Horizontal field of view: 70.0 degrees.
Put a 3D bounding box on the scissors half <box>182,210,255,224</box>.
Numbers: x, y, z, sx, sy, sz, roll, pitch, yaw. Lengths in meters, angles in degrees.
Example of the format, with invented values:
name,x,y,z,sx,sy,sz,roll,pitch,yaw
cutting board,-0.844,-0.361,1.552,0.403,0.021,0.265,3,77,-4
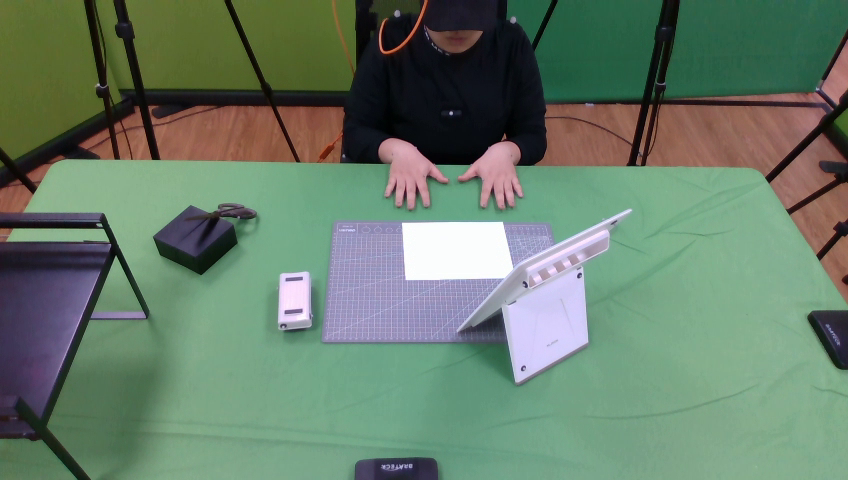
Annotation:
name,x,y,z,sx,sy,sz,roll,pitch,yaw
scissors half,-0.389,-0.043,1.158,0.040,0.013,0.175,40,21,22

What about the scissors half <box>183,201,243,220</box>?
name,x,y,z,sx,sy,sz,roll,pitch,yaw
scissors half,-0.405,-0.054,1.163,0.040,0.013,0.175,29,18,7

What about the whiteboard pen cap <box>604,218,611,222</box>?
name,x,y,z,sx,sy,sz,roll,pitch,yaw
whiteboard pen cap,0.378,-0.031,1.255,0.033,0.018,0.018,-33,56,-29

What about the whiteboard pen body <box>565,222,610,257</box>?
name,x,y,z,sx,sy,sz,roll,pitch,yaw
whiteboard pen body,0.335,-0.004,1.228,0.141,0.017,0.017,-32,56,-29

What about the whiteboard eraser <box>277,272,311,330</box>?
name,x,y,z,sx,sy,sz,roll,pitch,yaw
whiteboard eraser,-0.228,0.108,1.062,0.056,0.042,0.112,-3,46,-9

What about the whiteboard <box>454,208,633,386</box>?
name,x,y,z,sx,sy,sz,roll,pitch,yaw
whiteboard,0.211,0.111,0.954,0.217,0.306,0.143,-22,72,-24
